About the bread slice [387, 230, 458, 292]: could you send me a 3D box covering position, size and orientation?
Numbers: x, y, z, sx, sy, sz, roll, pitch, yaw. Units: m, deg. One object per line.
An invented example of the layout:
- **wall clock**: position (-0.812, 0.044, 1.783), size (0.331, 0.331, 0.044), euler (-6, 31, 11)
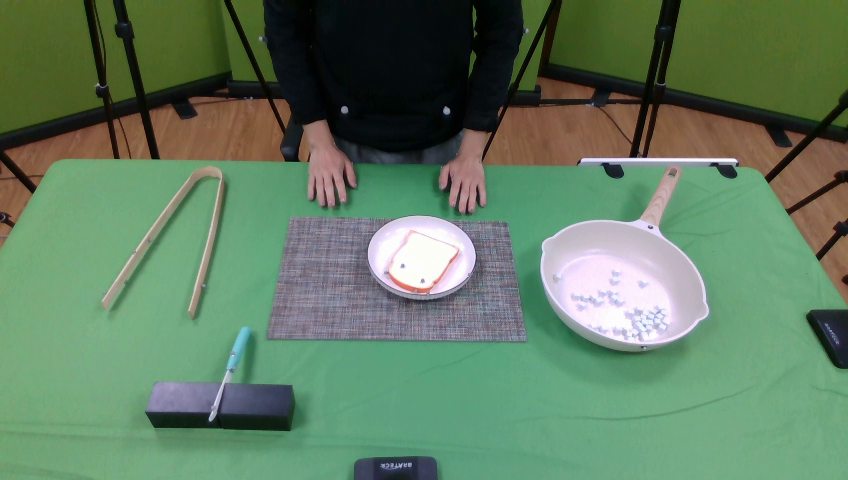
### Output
- **bread slice**: position (-0.007, 0.043, 1.142), size (0.107, 0.018, 0.134), euler (18, 46, 14)

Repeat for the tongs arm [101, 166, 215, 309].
- **tongs arm**: position (-0.499, -0.018, 1.166), size (0.051, 0.026, 0.382), euler (8, 45, 2)

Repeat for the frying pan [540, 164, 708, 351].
- **frying pan**: position (0.407, 0.012, 1.160), size (0.306, 0.103, 0.486), euler (26, 58, 18)

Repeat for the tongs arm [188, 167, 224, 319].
- **tongs arm**: position (-0.420, -0.009, 1.170), size (0.028, 0.028, 0.385), euler (-3, 46, -4)

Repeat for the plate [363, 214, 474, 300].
- **plate**: position (-0.010, 0.036, 1.146), size (0.208, 0.039, 0.206), euler (3, 46, -2)

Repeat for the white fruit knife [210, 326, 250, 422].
- **white fruit knife**: position (-0.301, 0.201, 0.942), size (0.016, 0.027, 0.206), euler (2, 32, -2)
